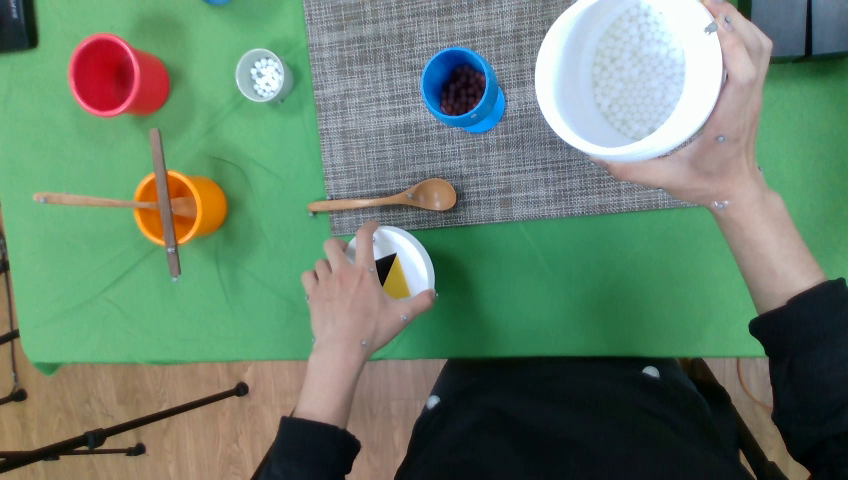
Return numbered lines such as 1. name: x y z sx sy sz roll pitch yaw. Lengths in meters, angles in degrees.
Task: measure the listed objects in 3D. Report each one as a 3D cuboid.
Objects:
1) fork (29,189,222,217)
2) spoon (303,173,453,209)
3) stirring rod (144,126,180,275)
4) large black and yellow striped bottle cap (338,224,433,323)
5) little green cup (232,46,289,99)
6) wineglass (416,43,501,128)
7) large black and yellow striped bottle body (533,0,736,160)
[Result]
1. fork: -0.351 -0.046 0.727 0.209 0.018 0.028 2 107 -33
2. spoon: -0.059 -0.053 0.731 0.193 0.021 0.042 -5 117 12
3. stirring rod: -0.310 -0.046 0.716 0.014 0.006 0.176 -5 97 13
4. large black and yellow striped bottle cap: -0.046 0.039 0.694 0.114 0.019 0.115 6 106 21
5. little green cup: -0.195 -0.199 0.733 0.061 0.038 0.061 2 98 12
6. wineglass: 0.040 -0.152 0.620 0.073 0.172 0.074 1 97 11
7. large black and yellow striped bottle body: 0.170 -0.136 0.483 0.130 0.184 0.131 10 111 29
